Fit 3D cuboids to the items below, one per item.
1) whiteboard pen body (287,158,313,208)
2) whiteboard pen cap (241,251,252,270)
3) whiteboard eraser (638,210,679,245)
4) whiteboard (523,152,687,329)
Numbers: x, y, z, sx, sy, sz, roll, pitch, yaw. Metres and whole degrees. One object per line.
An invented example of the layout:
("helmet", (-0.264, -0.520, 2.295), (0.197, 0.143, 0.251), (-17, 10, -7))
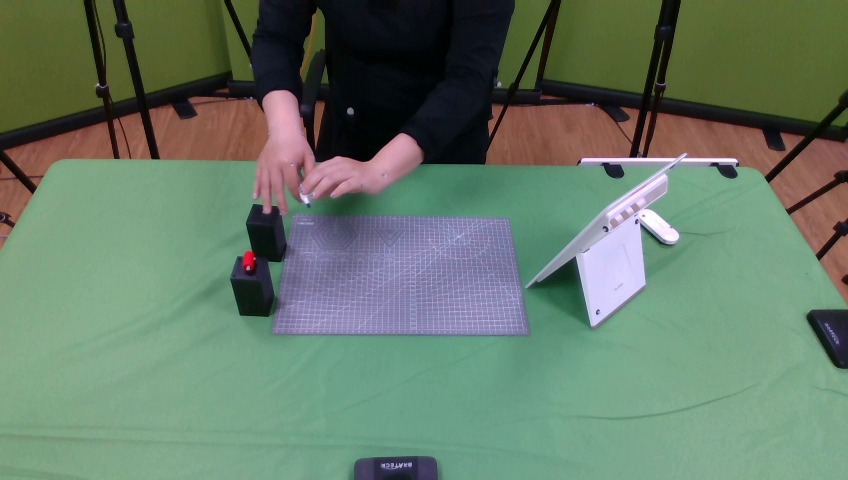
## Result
("whiteboard pen body", (-0.213, -0.099, 1.049), (0.017, 0.017, 0.139), (-16, 47, -19))
("whiteboard pen cap", (-0.294, 0.033, 1.005), (0.017, 0.017, 0.032), (-3, 44, -7))
("whiteboard eraser", (0.485, -0.027, 1.260), (0.041, 0.019, 0.100), (-21, 50, -21))
("whiteboard", (0.346, 0.024, 1.047), (0.217, 0.306, 0.143), (-30, 74, -29))
